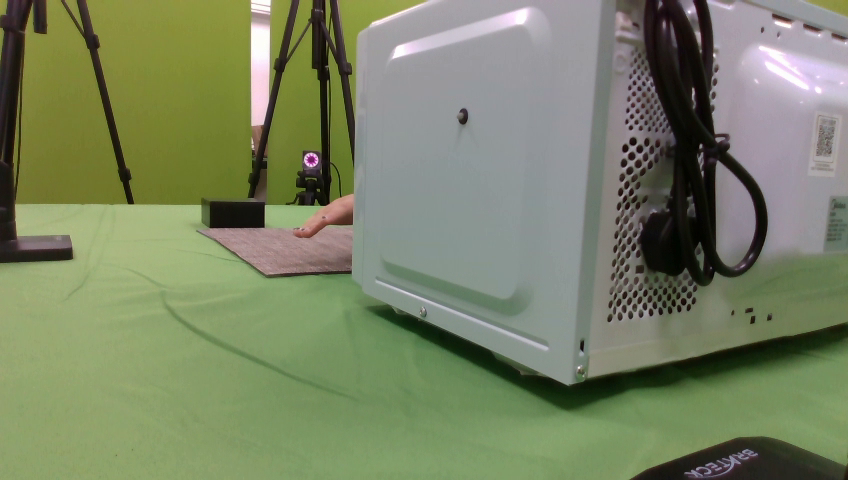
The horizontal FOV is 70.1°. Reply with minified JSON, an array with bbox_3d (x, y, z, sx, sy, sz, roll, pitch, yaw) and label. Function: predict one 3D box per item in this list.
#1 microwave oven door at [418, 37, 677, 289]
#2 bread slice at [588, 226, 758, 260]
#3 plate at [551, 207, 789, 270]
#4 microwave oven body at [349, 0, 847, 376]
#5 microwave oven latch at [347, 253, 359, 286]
[{"bbox_3d":[0.158,-0.079,0.684,0.358,0.243,0.039,-2,9,-32],"label":"microwave oven door"},{"bbox_3d":[0.226,0.002,0.569,0.132,0.019,0.104,4,4,-23],"label":"bread slice"},{"bbox_3d":[0.224,-0.003,0.572,0.209,0.038,0.209,3,8,0],"label":"plate"},{"bbox_3d":[0.199,-0.053,0.540,0.444,0.260,0.324,-1,7,-32],"label":"microwave oven body"},{"bbox_3d":[-0.034,0.028,0.581,0.079,0.029,0.030,-1,7,-32],"label":"microwave oven latch"}]
